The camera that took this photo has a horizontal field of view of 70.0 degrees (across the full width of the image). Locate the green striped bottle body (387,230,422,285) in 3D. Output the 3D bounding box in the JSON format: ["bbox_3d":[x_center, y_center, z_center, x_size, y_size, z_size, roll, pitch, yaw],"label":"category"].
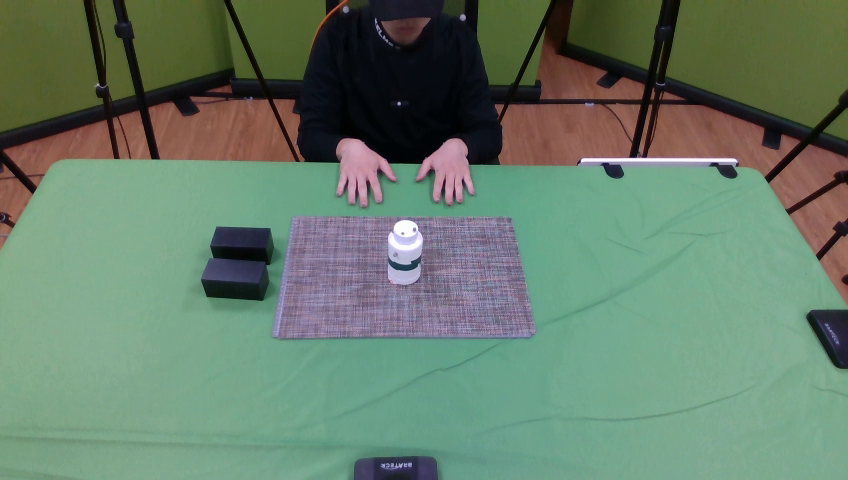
[{"bbox_3d":[-0.036,0.021,1.102,0.063,0.120,0.063,2,46,-2],"label":"green striped bottle body"}]

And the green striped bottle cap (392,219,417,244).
[{"bbox_3d":[-0.034,-0.015,1.065,0.044,0.020,0.044,4,45,-4],"label":"green striped bottle cap"}]
